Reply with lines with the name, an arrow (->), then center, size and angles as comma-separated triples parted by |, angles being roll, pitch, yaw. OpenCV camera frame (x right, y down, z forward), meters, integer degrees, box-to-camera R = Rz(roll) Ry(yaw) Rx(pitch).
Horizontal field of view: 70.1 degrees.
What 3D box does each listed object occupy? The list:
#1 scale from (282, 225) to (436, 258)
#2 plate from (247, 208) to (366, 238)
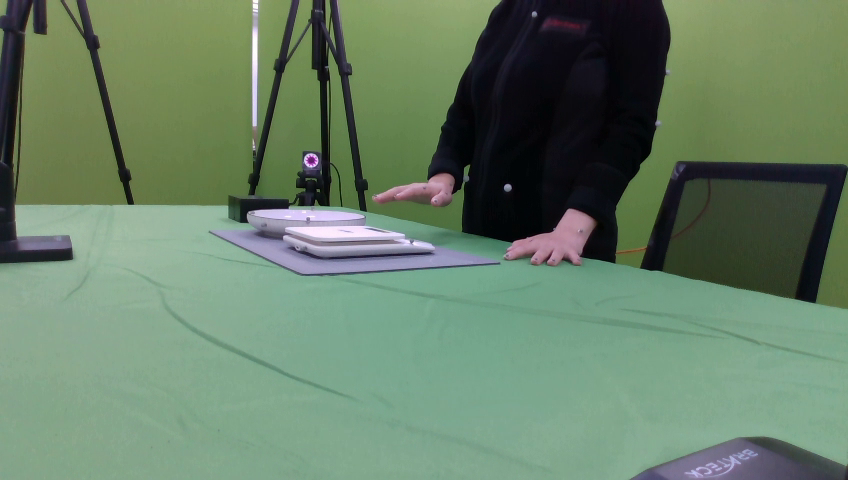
scale -> -0.098, 0.000, 0.914 | 0.202, 0.031, 0.148 | -2, 9, -33
plate -> -0.208, -0.030, 1.082 | 0.209, 0.038, 0.209 | 2, 7, 0
